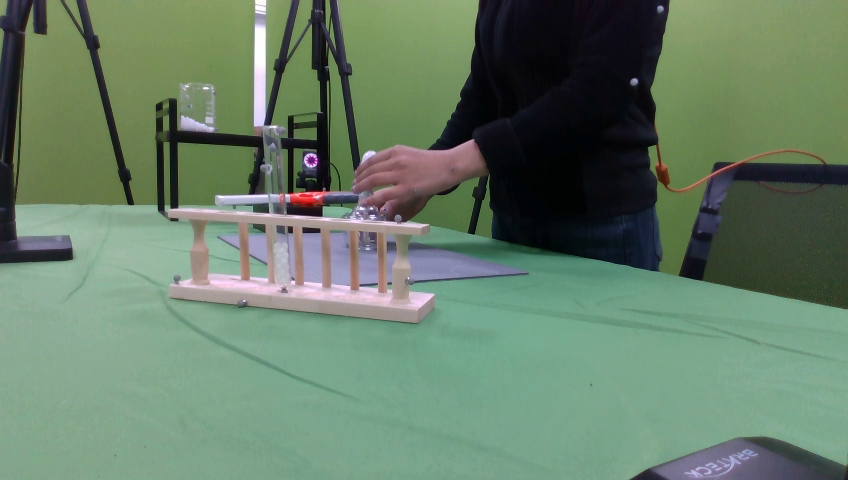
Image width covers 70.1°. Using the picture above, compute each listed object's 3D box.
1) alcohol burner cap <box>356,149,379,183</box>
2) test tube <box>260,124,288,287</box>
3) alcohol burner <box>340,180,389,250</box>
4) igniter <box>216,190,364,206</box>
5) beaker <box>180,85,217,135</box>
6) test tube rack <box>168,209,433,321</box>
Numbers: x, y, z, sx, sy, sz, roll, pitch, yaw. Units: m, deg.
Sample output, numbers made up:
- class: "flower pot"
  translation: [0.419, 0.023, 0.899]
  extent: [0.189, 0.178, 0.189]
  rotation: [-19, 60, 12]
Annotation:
- class: "alcohol burner cap"
  translation: [-0.084, -0.114, 0.918]
  extent: [0.034, 0.048, 0.034]
  rotation: [10, 17, -3]
- class: "test tube"
  translation: [-0.137, -0.030, 0.554]
  extent: [0.017, 0.150, 0.017]
  rotation: [-2, 10, 1]
- class: "alcohol burner"
  translation: [-0.094, -0.045, 0.939]
  extent: [0.078, 0.119, 0.078]
  rotation: [-1, 7, 0]
- class: "igniter"
  translation: [-0.249, -0.079, 1.152]
  extent: [0.278, 0.025, 0.057]
  rotation: [-4, 12, -27]
- class: "beaker"
  translation: [-0.478, -0.275, 1.279]
  extent: [0.074, 0.100, 0.084]
  rotation: [4, 8, 15]
- class: "test tube rack"
  translation: [-0.116, 0.017, 0.574]
  extent: [0.242, 0.085, 0.067]
  rotation: [4, 8, 14]
